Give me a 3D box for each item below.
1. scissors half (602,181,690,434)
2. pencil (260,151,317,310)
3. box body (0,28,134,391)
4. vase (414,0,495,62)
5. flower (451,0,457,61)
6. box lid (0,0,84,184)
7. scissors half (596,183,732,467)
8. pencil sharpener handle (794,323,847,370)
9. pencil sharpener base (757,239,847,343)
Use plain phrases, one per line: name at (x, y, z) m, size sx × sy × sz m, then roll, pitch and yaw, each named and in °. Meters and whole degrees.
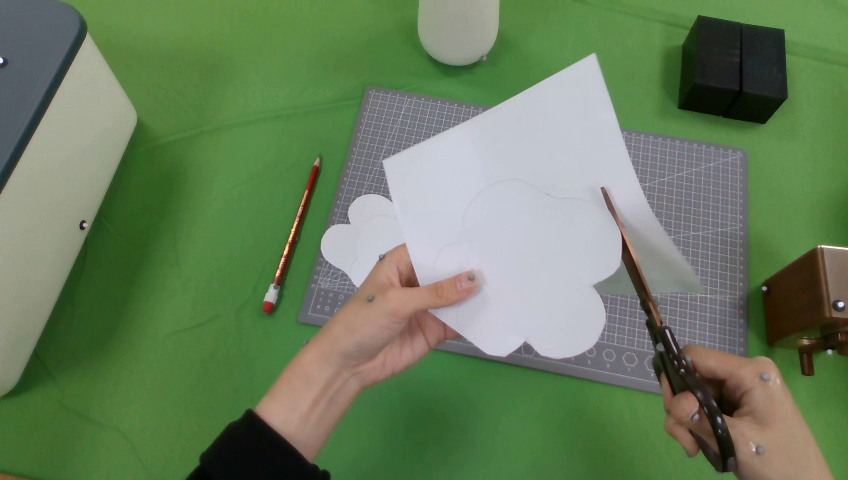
scissors half at (0.134, 0.044, 0.364) m, size 0.013 × 0.039 × 0.176 m, roll -23°, pitch 110°, yaw 5°
pencil at (-0.143, -0.016, 0.655) m, size 0.012 × 0.012 × 0.193 m, roll 11°, pitch 66°, yaw 5°
box body at (-0.478, -0.051, 0.582) m, size 0.254 × 0.161 × 0.361 m, roll 10°, pitch 68°, yaw 4°
vase at (0.035, -0.292, 0.668) m, size 0.098 × 0.201 × 0.097 m, roll 0°, pitch 66°, yaw 1°
flower at (0.031, -0.338, 0.596) m, size 0.044 × 0.365 × 0.038 m, roll 4°, pitch 49°, yaw 5°
box lid at (-0.478, -0.083, 0.514) m, size 0.263 × 0.015 × 0.369 m, roll 11°, pitch 67°, yaw 4°
scissors half at (0.134, 0.047, 0.342) m, size 0.013 × 0.040 × 0.175 m, roll -24°, pitch 87°, yaw 0°
pencil sharpener handle at (0.364, 0.097, 0.545) m, size 0.036 × 0.068 × 0.030 m, roll 11°, pitch 67°, yaw -10°
pencil sharpener base at (0.374, 0.056, 0.576) m, size 0.061 × 0.108 × 0.076 m, roll 6°, pitch 68°, yaw 2°
